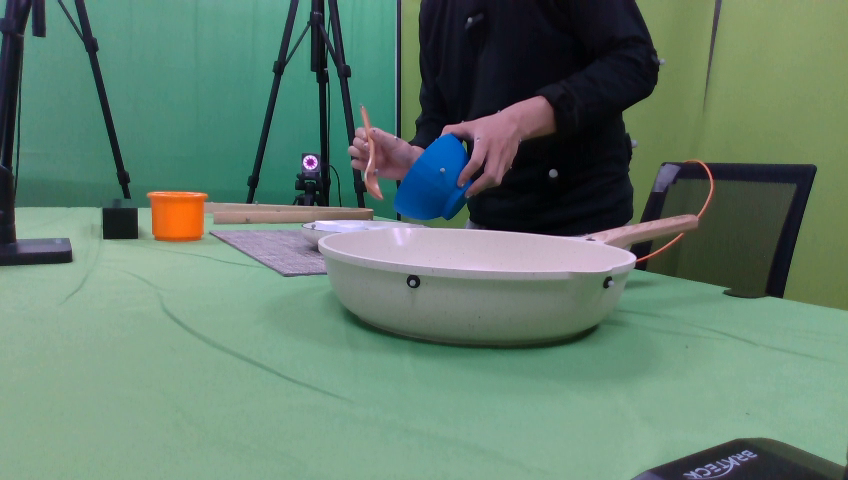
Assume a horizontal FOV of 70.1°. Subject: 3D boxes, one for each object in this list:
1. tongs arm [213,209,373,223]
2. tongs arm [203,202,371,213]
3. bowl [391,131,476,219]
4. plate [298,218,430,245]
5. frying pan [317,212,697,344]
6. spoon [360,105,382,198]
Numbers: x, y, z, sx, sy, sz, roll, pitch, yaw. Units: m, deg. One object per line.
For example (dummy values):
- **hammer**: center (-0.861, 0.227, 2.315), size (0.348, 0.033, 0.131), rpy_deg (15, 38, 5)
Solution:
- **tongs arm**: center (-0.274, -0.054, 1.347), size (0.390, 0.028, 0.028), rpy_deg (-3, 6, -37)
- **tongs arm**: center (-0.312, -0.069, 1.418), size (0.387, 0.026, 0.050), rpy_deg (0, 8, -24)
- **bowl**: center (0.027, -0.085, 0.938), size (0.076, 0.151, 0.152), rpy_deg (38, 17, 12)
- **plate**: center (-0.091, -0.006, 0.949), size (0.208, 0.039, 0.207), rpy_deg (2, 7, 0)
- **frying pan**: center (0.133, 0.013, 0.629), size (0.490, 0.102, 0.305), rpy_deg (-12, 14, -31)
- **spoon**: center (-0.089, -0.147, 0.987), size (0.021, 0.193, 0.042), rpy_deg (-22, -33, 24)
